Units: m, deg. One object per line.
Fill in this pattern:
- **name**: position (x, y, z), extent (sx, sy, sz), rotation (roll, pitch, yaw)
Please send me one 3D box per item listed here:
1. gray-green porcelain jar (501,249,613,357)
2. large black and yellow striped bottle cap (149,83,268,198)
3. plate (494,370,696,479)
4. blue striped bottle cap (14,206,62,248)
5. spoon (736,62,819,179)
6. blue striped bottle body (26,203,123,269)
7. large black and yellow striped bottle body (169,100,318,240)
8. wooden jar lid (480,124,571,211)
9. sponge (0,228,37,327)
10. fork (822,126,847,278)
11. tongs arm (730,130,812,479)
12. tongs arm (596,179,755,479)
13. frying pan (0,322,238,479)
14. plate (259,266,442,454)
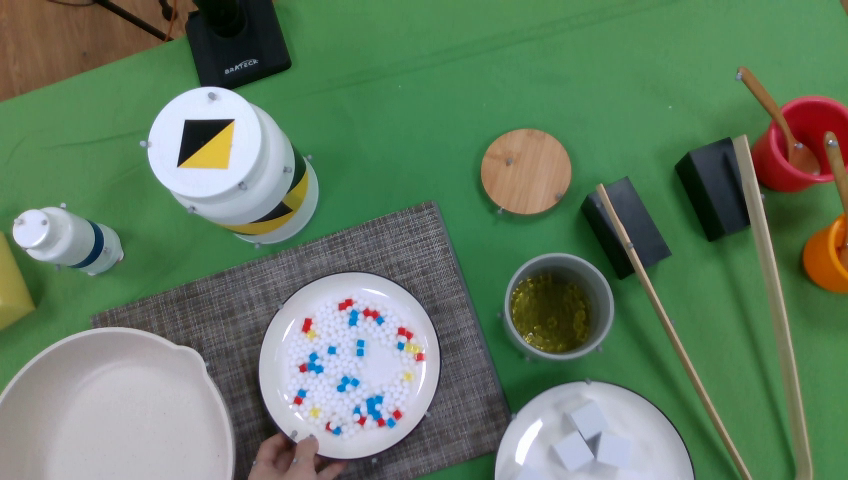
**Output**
- **gray-green porcelain jar**: position (0.136, 0.072, 0.648), extent (0.106, 0.127, 0.105), rotation (-1, 79, 5)
- **large black and yellow striped bottle cap**: position (-0.212, -0.099, 0.596), extent (0.115, 0.019, 0.114), rotation (-1, 80, 4)
- **plate**: position (0.179, 0.246, 0.650), extent (0.207, 0.039, 0.206), rotation (-1, 75, 4)
- **blue striped bottle cap**: position (-0.423, -0.015, 0.664), extent (0.044, 0.021, 0.044), rotation (-2, 76, 7)
- **spoon**: position (0.385, -0.129, 0.656), extent (0.196, 0.021, 0.041), rotation (37, 85, -34)
- **blue striped bottle body**: position (-0.419, -0.005, 0.714), extent (0.063, 0.121, 0.063), rotation (-1, 79, 5)
- **large black and yellow striped bottle body**: position (-0.204, -0.080, 0.678), extent (0.130, 0.185, 0.130), rotation (-1, 78, 5)
- **wooden jar lid**: position (0.122, -0.087, 0.734), extent (0.108, 0.021, 0.108), rotation (-1, 81, 5)
- **sponge**: position (-0.606, 0.081, 0.745), extent (0.207, 0.061, 0.117), rotation (-32, 78, -2)
- **fork**: position (0.437, -0.032, 0.629), extent (0.028, 0.018, 0.209), rotation (-29, 122, 7)
- **tongs arm**: position (0.367, 0.074, 0.646), extent (0.028, 0.028, 0.387), rotation (-10, 89, -4)
- **tongs arm**: position (0.286, 0.102, 0.647), extent (0.051, 0.026, 0.384), rotation (-24, 88, -2)
- **frying pan**: position (-0.267, 0.302, 0.648), extent (0.484, 0.103, 0.306), rotation (40, 86, 19)
- **plate**: position (-0.082, 0.134, 0.694), extent (0.209, 0.038, 0.208), rotation (-1, 77, 4)
